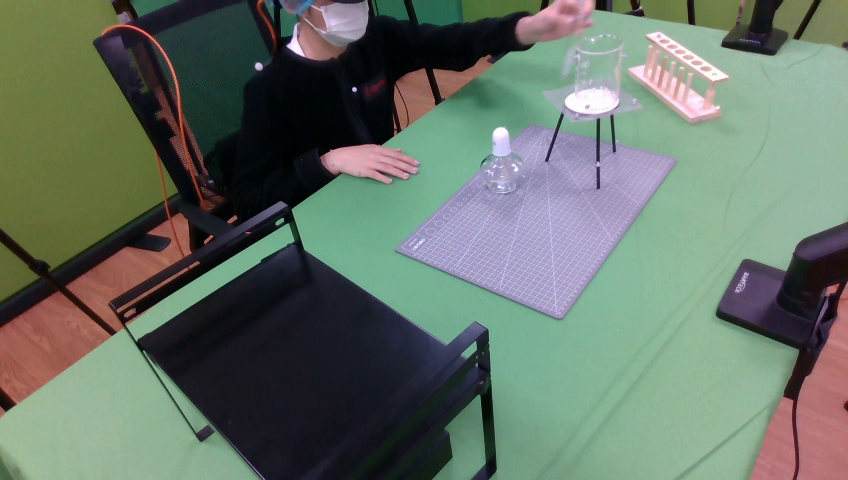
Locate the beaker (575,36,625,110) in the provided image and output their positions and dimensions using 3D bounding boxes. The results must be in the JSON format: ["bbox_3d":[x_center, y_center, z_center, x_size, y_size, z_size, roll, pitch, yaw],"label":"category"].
[{"bbox_3d":[0.283,-0.271,0.988,0.074,0.101,0.083,-10,39,1],"label":"beaker"}]

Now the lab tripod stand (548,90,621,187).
[{"bbox_3d":[0.289,-0.184,1.062,0.148,0.132,0.147,-6,41,6],"label":"lab tripod stand"}]

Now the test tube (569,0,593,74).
[{"bbox_3d":[0.285,-0.374,1.096,0.017,0.150,0.017,3,37,-2],"label":"test tube"}]

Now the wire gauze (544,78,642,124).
[{"bbox_3d":[0.282,-0.234,1.022,0.125,0.011,0.120,-17,38,-4],"label":"wire gauze"}]

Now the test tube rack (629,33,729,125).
[{"bbox_3d":[0.516,-0.337,1.248,0.067,0.085,0.240,-14,41,-6],"label":"test tube rack"}]

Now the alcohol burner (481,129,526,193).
[{"bbox_3d":[0.138,-0.142,1.052,0.078,0.119,0.077,-5,42,5],"label":"alcohol burner"}]

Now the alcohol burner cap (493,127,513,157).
[{"bbox_3d":[0.133,-0.169,1.030,0.034,0.048,0.033,-7,36,5],"label":"alcohol burner cap"}]
